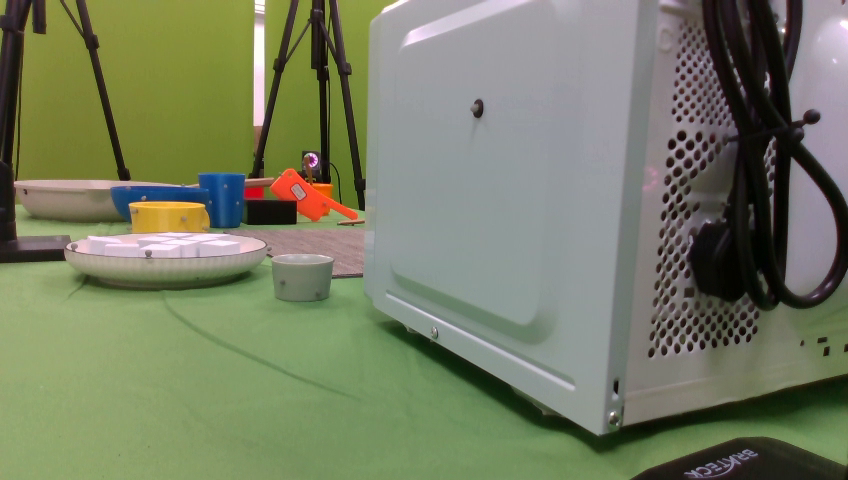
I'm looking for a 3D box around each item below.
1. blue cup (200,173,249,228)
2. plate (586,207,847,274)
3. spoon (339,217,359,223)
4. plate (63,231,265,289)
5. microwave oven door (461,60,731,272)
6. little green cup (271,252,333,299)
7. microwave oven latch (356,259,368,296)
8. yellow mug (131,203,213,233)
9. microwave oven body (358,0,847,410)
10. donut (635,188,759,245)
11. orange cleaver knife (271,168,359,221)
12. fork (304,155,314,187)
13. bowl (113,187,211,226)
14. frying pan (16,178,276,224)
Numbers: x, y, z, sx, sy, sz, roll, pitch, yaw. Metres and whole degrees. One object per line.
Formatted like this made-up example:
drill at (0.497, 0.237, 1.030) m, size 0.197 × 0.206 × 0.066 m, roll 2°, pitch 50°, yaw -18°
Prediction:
blue cup at (-0.381, -0.076, 1.155) m, size 0.093 × 0.100 × 0.092 m, roll 1°, pitch 8°, yaw 0°
plate at (0.244, -0.002, 0.512) m, size 0.209 × 0.038 × 0.209 m, roll 1°, pitch 7°, yaw 0°
spoon at (-0.087, -0.041, 1.268) m, size 0.193 × 0.021 × 0.041 m, roll 4°, pitch 24°, yaw 13°
plate at (-0.288, 0.021, 0.687) m, size 0.208 × 0.039 × 0.207 m, roll 2°, pitch 8°, yaw 0°
microwave oven door at (0.204, -0.100, 0.803) m, size 0.354 × 0.243 × 0.039 m, roll 7°, pitch 9°, yaw 39°
little green cup at (-0.122, 0.035, 0.605) m, size 0.061 × 0.038 × 0.061 m, roll 3°, pitch 6°, yaw 0°
microwave oven latch at (-0.019, 0.031, 0.528) m, size 0.079 × 0.029 × 0.030 m, roll -1°, pitch 7°, yaw -25°
yellow mug at (-0.355, -0.020, 0.878) m, size 0.099 × 0.064 × 0.131 m, roll 4°, pitch 7°, yaw 22°
microwave oven body at (0.210, -0.051, 0.471) m, size 0.444 × 0.260 × 0.324 m, roll -1°, pitch 7°, yaw -28°
donut at (0.233, -0.020, 0.520) m, size 0.099 × 0.048 × 0.099 m, roll 3°, pitch 4°, yaw 0°
orange cleaver knife at (-0.236, -0.084, 1.333) m, size 0.212 × 0.077 × 0.012 m, roll 31°, pitch -10°, yaw -32°
fork at (-0.268, -0.134, 1.447) m, size 0.028 × 0.018 × 0.207 m, roll 2°, pitch -36°, yaw -1°
bowl at (-0.436, -0.046, 1.013) m, size 0.151 × 0.077 × 0.151 m, roll 2°, pitch 7°, yaw 0°
frying pan at (-0.553, -0.096, 1.266) m, size 0.490 × 0.102 × 0.305 m, roll -10°, pitch 13°, yaw -24°
